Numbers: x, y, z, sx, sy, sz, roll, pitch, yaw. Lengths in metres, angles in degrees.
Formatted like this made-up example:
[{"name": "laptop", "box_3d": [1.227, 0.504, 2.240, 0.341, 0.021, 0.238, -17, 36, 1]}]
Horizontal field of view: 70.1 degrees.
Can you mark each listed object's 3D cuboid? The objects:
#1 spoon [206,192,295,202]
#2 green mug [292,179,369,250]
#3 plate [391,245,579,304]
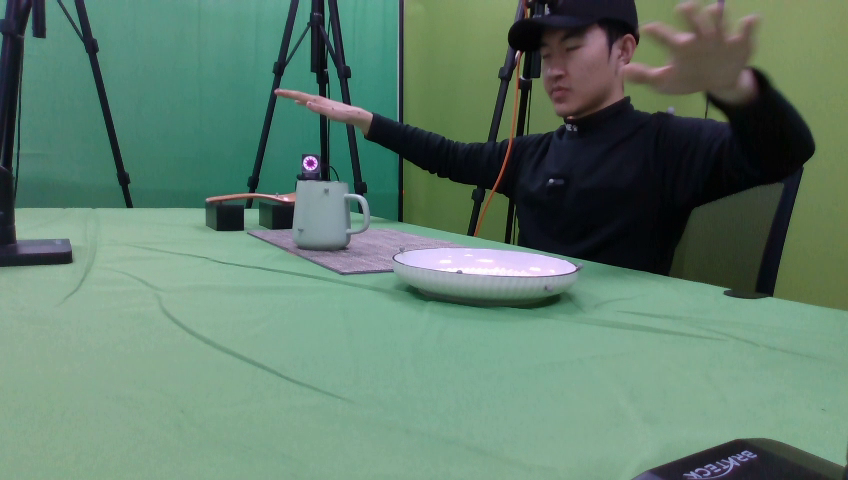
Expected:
[{"name": "spoon", "box_3d": [-0.335, -0.087, 1.214, 0.195, 0.021, 0.041, -2, 25, -28]}, {"name": "green mug", "box_3d": [-0.144, -0.040, 0.944, 0.125, 0.105, 0.093, 4, 7, 16]}, {"name": "plate", "box_3d": [0.066, 0.038, 0.683, 0.209, 0.038, 0.209, 2, 7, 0]}]
